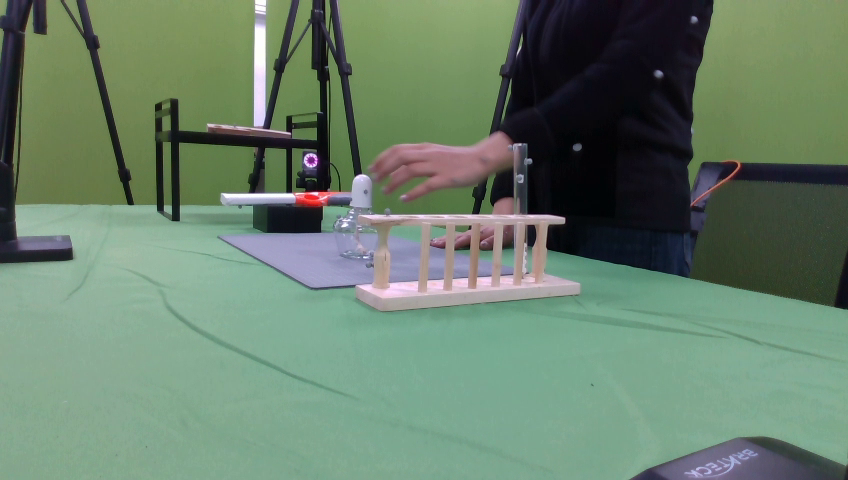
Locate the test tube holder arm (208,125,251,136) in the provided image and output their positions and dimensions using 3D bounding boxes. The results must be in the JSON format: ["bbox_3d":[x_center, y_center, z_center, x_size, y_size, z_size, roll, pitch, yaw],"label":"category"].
[{"bbox_3d":[-0.418,-0.234,1.300,0.088,0.015,0.010,1,41,-32],"label":"test tube holder arm"}]

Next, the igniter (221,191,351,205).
[{"bbox_3d":[-0.239,-0.078,1.149,0.278,0.025,0.057,-3,20,-31],"label":"igniter"}]

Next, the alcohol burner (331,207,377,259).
[{"bbox_3d":[-0.091,-0.033,0.855,0.078,0.119,0.078,4,7,0],"label":"alcohol burner"}]

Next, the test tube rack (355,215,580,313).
[{"bbox_3d":[0.053,0.019,0.635,0.243,0.085,0.066,-1,8,-29],"label":"test tube rack"}]

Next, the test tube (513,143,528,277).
[{"bbox_3d":[0.108,-0.033,0.677,0.017,0.150,0.017,-2,8,1],"label":"test tube"}]

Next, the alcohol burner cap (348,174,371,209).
[{"bbox_3d":[-0.089,-0.068,0.849,0.034,0.048,0.034,3,10,0],"label":"alcohol burner cap"}]

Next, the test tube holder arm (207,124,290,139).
[{"bbox_3d":[-0.381,-0.238,1.327,0.179,0.015,0.013,0,42,-32],"label":"test tube holder arm"}]
